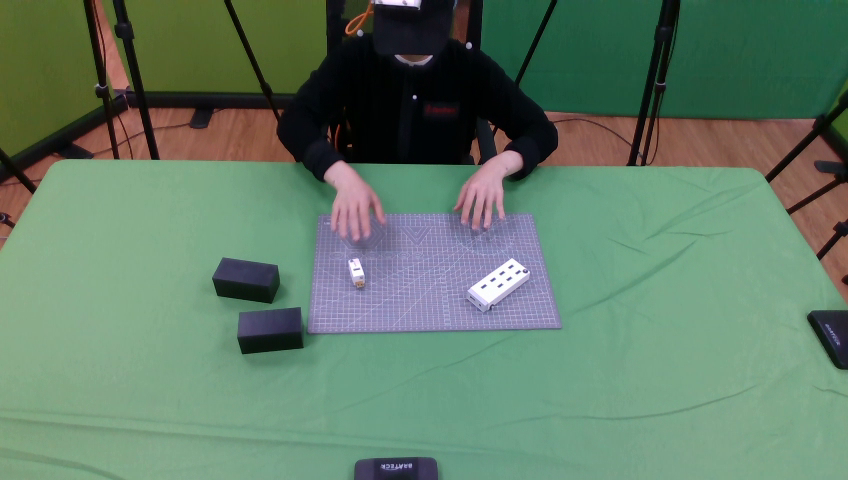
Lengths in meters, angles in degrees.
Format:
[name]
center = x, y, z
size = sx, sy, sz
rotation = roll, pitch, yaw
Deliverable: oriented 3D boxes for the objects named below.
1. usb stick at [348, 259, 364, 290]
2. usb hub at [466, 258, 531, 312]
[usb stick]
center = -0.124, 0.064, 1.120
size = 0.021, 0.027, 0.059
rotation = -9, 50, -17
[usb hub]
center = 0.139, 0.083, 1.121
size = 0.125, 0.025, 0.049
rotation = -32, 56, -29
